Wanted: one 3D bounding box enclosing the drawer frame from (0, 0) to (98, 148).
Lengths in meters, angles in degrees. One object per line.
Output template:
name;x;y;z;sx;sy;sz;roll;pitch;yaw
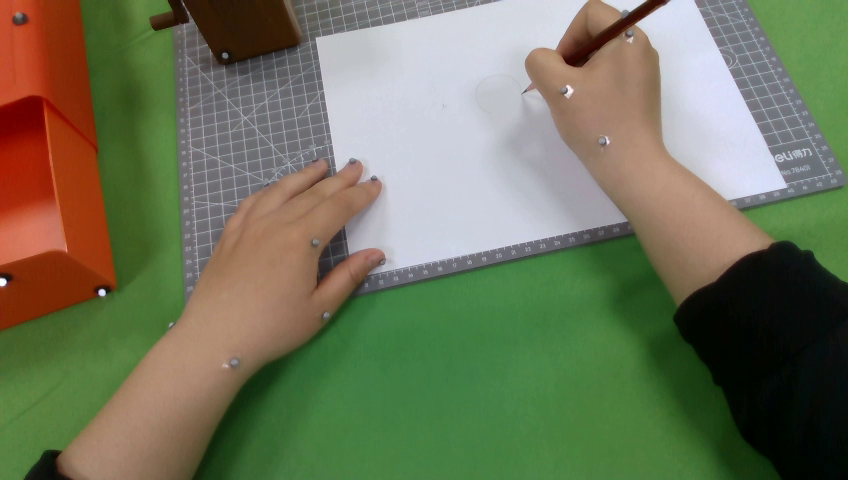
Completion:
drawer frame;-0.369;-0.137;0.456;0.202;0.083;0.211;-19;66;-3

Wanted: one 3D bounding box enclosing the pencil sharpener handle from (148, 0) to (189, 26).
pencil sharpener handle;-0.194;-0.182;0.431;0.030;0.068;0.035;-18;64;-2

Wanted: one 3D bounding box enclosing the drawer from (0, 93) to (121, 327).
drawer;-0.330;-0.036;0.412;0.194;0.074;0.210;-20;66;-4

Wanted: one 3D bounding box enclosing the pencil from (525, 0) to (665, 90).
pencil;0.116;-0.129;0.362;0.012;0.193;0.012;5;78;-25

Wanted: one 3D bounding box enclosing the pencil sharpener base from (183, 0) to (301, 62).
pencil sharpener base;-0.144;-0.193;0.445;0.077;0.108;0.061;-18;66;-2
